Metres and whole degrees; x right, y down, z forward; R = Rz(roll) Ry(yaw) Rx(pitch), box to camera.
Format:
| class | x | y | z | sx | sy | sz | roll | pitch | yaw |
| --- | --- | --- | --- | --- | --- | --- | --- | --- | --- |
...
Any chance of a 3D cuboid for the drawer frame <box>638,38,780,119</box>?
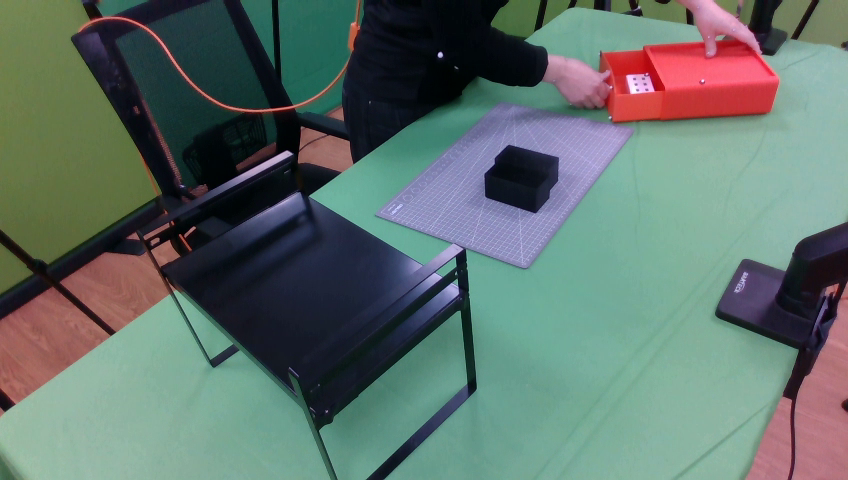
| class | x | y | z | sx | sy | sz | roll | pitch | yaw |
| --- | --- | --- | --- | --- | --- | --- | --- | --- | --- |
| drawer frame | 0.564 | -0.329 | 1.226 | 0.213 | 0.083 | 0.201 | -2 | 41 | 5 |

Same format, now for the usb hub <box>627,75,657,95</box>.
| class | x | y | z | sx | sy | sz | roll | pitch | yaw |
| --- | --- | --- | --- | --- | --- | --- | --- | --- | --- |
| usb hub | 0.448 | -0.306 | 1.242 | 0.049 | 0.025 | 0.125 | -6 | 30 | 16 |

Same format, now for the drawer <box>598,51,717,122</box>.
| class | x | y | z | sx | sy | sz | roll | pitch | yaw |
| --- | --- | --- | --- | --- | --- | --- | --- | --- | --- |
| drawer | 0.476 | -0.321 | 1.241 | 0.212 | 0.073 | 0.193 | 0 | 40 | 4 |
